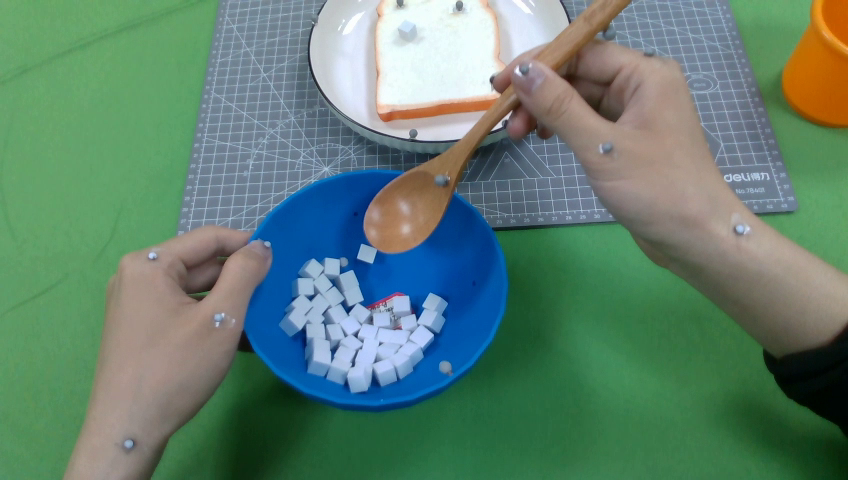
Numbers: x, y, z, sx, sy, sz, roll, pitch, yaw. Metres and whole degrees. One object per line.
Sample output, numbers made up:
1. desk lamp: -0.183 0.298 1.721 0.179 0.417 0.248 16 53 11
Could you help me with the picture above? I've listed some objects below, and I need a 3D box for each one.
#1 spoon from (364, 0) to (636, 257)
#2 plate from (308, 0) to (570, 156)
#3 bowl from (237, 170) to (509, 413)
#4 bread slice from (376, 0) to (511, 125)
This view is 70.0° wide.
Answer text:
1. spoon: 0.035 -0.058 0.313 0.194 0.022 0.041 -44 68 27
2. plate: 0.012 -0.150 0.492 0.209 0.038 0.207 -2 63 4
3. bowl: -0.029 0.040 0.367 0.151 0.077 0.150 1 57 -2
4. bread slice: 0.009 -0.154 0.497 0.107 0.018 0.133 -9 64 0
